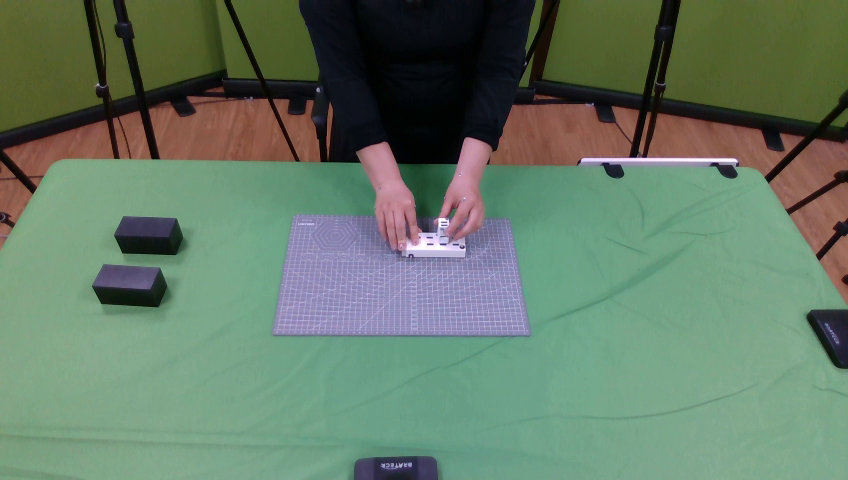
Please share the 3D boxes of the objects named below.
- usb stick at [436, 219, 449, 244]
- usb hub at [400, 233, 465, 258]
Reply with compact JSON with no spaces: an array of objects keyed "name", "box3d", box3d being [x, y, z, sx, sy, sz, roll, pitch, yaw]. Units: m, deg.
[{"name":"usb stick","box3d":[0.035,-0.012,1.166,0.021,0.059,0.027,-2,48,-6]},{"name":"usb hub","box3d":[0.017,0.011,1.182,0.125,0.025,0.049,0,46,-3]}]
